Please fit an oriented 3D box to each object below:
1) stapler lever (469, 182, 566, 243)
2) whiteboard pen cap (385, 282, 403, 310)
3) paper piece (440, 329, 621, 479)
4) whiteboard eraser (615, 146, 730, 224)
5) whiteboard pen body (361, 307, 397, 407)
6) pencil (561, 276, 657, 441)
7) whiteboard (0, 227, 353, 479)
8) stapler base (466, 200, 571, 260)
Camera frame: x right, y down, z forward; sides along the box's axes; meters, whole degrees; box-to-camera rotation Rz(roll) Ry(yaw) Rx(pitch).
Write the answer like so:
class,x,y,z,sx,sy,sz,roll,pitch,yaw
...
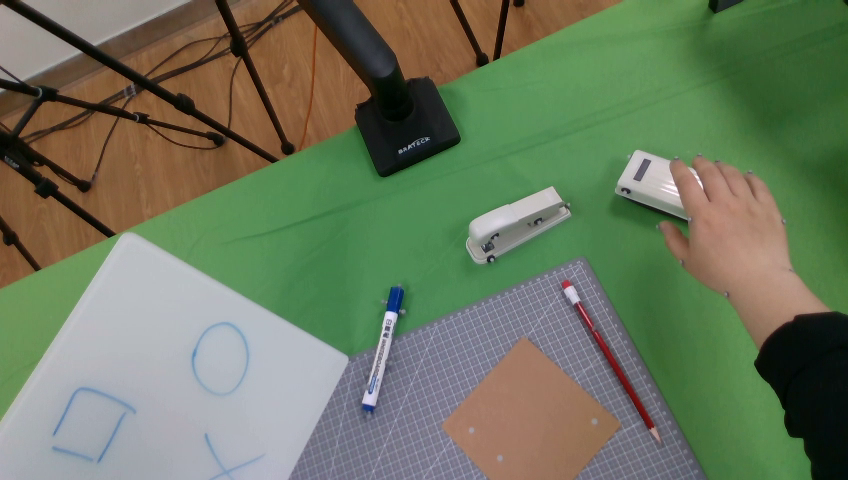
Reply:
class,x,y,z,sx,sy,sz,roll,pitch,yaw
stapler lever,0.106,-0.033,0.699,0.118,0.040,0.026,-29,66,0
whiteboard pen cap,-0.036,0.068,0.717,0.018,0.018,0.033,5,68,16
paper piece,0.108,0.189,0.637,0.136,0.009,0.137,-46,67,-3
whiteboard eraser,0.280,-0.061,0.686,0.112,0.042,0.055,25,77,22
whiteboard pen body,-0.049,0.121,0.698,0.017,0.017,0.140,8,69,17
pencil,0.195,0.121,0.643,0.012,0.012,0.192,-26,66,2
whiteboard,-0.258,0.141,0.614,0.142,0.309,0.216,15,70,41
stapler base,0.110,-0.023,0.721,0.130,0.024,0.041,-29,66,-2
